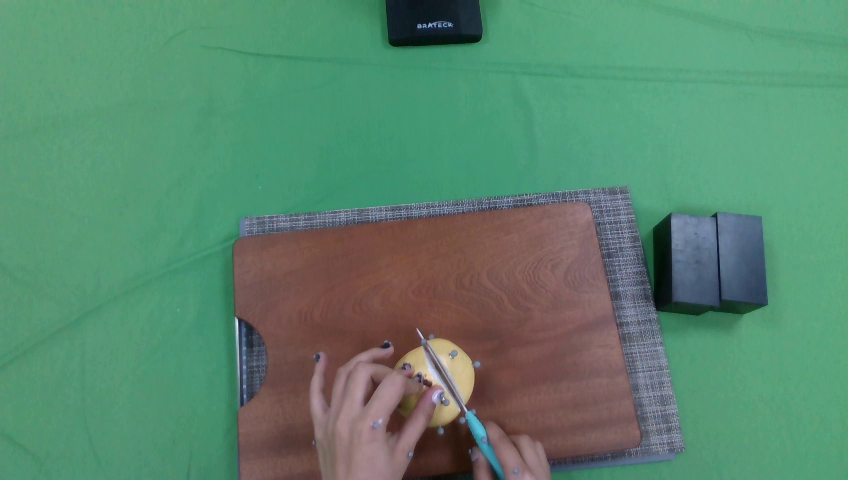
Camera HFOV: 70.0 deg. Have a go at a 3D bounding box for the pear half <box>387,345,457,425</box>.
[{"bbox_3d":[-0.007,0.140,0.566,0.056,0.110,0.076,-36,72,-6],"label":"pear half"}]

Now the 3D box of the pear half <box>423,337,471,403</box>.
[{"bbox_3d":[0.026,0.119,0.582,0.031,0.088,0.070,-35,69,-15],"label":"pear half"}]

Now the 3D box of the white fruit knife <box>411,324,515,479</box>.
[{"bbox_3d":[0.041,0.171,0.584,0.016,0.027,0.207,-31,84,-9],"label":"white fruit knife"}]
